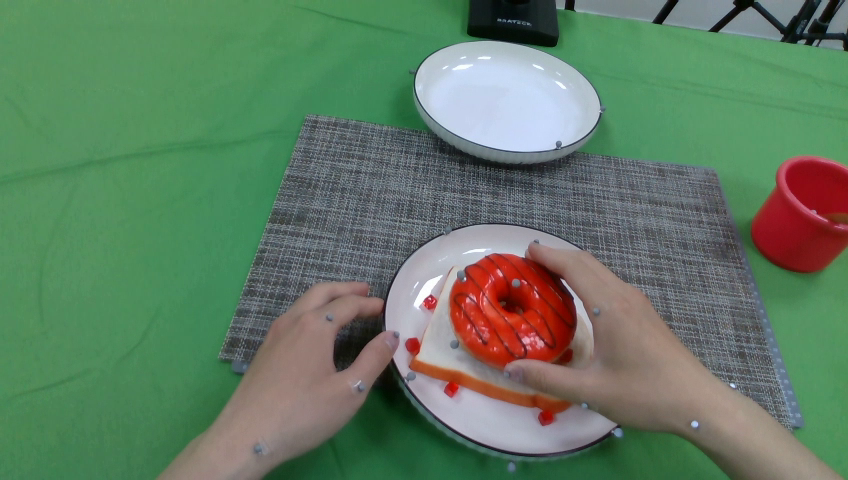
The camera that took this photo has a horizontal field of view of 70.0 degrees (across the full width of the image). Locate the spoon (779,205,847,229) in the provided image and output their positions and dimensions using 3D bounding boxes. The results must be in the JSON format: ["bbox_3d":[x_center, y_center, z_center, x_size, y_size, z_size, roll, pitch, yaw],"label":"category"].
[{"bbox_3d":[0.359,-0.019,0.532,0.041,0.021,0.194,24,8,11],"label":"spoon"}]

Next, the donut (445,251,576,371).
[{"bbox_3d":[0.064,0.052,0.452,0.099,0.048,0.098,4,50,-4],"label":"donut"}]

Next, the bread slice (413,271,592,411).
[{"bbox_3d":[0.067,0.078,0.482,0.131,0.019,0.104,14,49,9],"label":"bread slice"}]

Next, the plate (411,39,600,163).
[{"bbox_3d":[0.088,-0.151,0.671,0.208,0.039,0.205,4,48,-5],"label":"plate"}]

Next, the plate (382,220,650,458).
[{"bbox_3d":[0.070,0.072,0.481,0.209,0.038,0.207,4,50,-4],"label":"plate"}]
